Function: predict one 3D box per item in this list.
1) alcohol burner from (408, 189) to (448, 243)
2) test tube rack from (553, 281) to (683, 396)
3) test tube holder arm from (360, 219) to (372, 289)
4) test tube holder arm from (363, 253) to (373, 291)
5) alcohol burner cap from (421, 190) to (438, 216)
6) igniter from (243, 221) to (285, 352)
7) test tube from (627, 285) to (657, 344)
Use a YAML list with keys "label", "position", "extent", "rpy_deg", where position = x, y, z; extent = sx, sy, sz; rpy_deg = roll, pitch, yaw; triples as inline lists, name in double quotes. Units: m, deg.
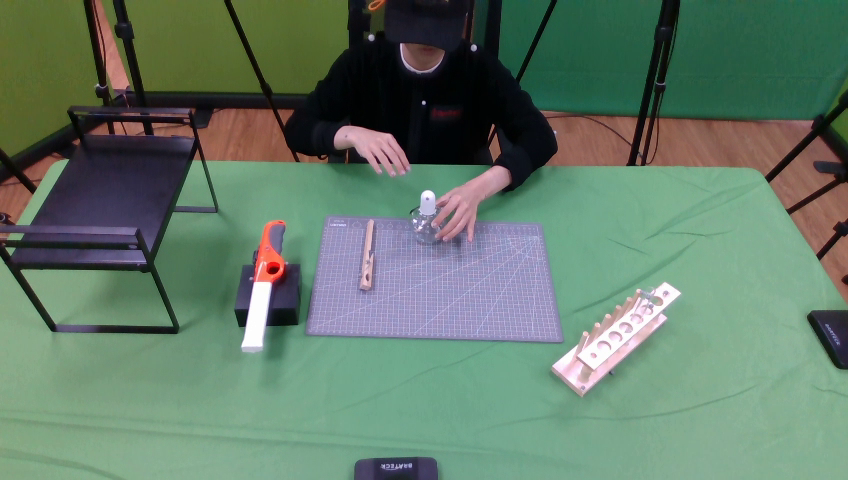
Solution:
- label: "alcohol burner"
  position: [0.008, -0.052, 1.168]
  extent: [0.078, 0.120, 0.077]
  rpy_deg: [1, 46, -1]
- label: "test tube rack"
  position: [0.329, 0.153, 1.023]
  extent: [0.242, 0.085, 0.066]
  rpy_deg: [-30, 54, -28]
- label: "test tube holder arm"
  position: [-0.110, 0.024, 1.161]
  extent: [0.013, 0.015, 0.177]
  rpy_deg: [28, 38, -27]
- label: "test tube holder arm"
  position: [-0.104, 0.058, 1.132]
  extent: [0.010, 0.015, 0.087]
  rpy_deg: [28, 38, -27]
- label: "alcohol burner cap"
  position: [0.010, -0.073, 1.145]
  extent: [0.034, 0.048, 0.033]
  rpy_deg: [0, 46, 1]
- label: "igniter"
  position: [-0.273, 0.069, 1.041]
  extent: [0.057, 0.025, 0.274]
  rpy_deg: [2, 48, -6]
- label: "test tube"
  position: [0.350, 0.124, 0.983]
  extent: [0.017, 0.151, 0.017]
  rpy_deg: [0, 49, 0]
